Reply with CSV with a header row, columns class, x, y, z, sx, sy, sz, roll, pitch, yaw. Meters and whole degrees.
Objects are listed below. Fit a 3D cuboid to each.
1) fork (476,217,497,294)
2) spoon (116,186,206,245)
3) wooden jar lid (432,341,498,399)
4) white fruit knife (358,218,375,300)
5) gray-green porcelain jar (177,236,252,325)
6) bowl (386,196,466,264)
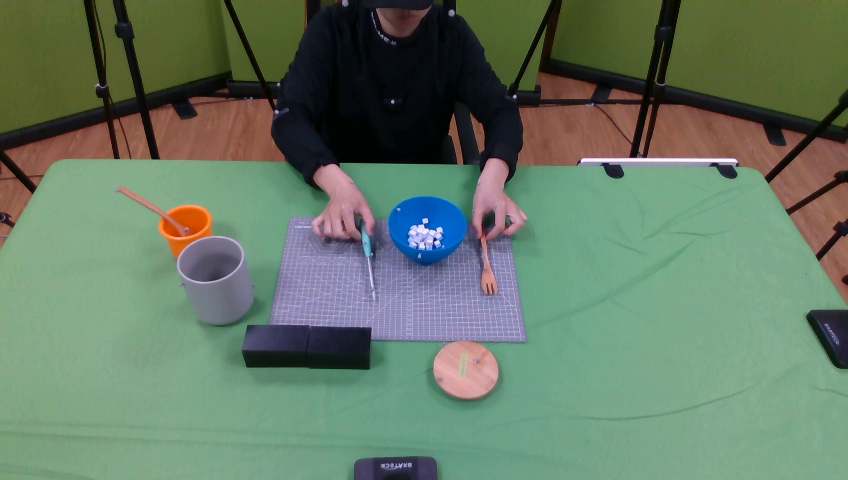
class,x,y,z,sx,sy,sz,roll,pitch,yaw
fork,0.118,0.027,1.178,0.028,0.019,0.206,-7,48,4
spoon,-0.474,-0.041,1.112,0.021,0.195,0.041,-30,32,30
wooden jar lid,0.067,0.216,0.997,0.108,0.021,0.107,1,46,-1
white fruit knife,-0.107,0.031,1.151,0.016,0.027,0.206,-17,49,4
gray-green porcelain jar,-0.350,0.073,1.027,0.106,0.127,0.105,3,46,-3
bowl,0.002,-0.007,1.162,0.151,0.077,0.150,3,46,-2
